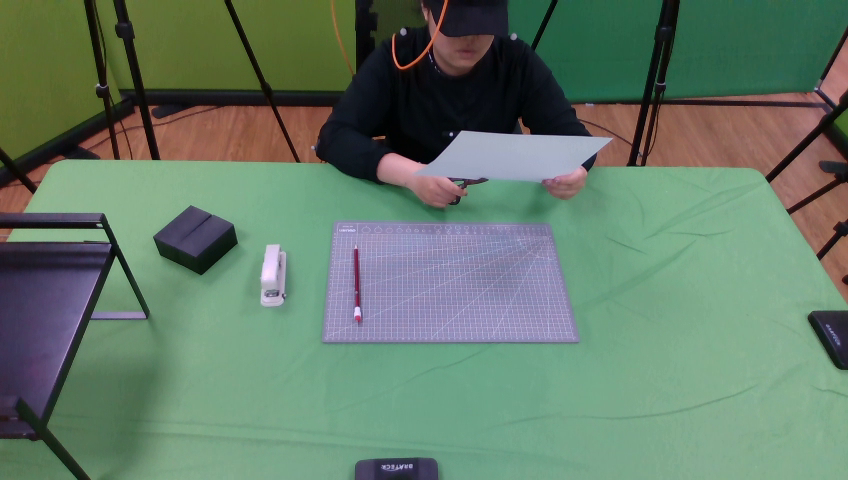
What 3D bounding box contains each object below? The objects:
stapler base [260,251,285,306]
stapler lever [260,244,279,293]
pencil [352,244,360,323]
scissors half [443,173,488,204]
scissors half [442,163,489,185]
[{"bbox_3d":[-0.279,0.064,1.113,0.041,0.024,0.129,-2,44,-9],"label":"stapler base"},{"bbox_3d":[-0.279,0.045,1.096,0.027,0.040,0.117,-2,44,-9],"label":"stapler lever"},{"bbox_3d":[-0.127,0.076,1.120,0.012,0.012,0.192,-3,44,-7],"label":"pencil"},{"bbox_3d":[0.081,-0.104,1.195,0.013,0.175,0.040,-8,81,-26],"label":"scissors half"},{"bbox_3d":[0.080,-0.126,1.194,0.013,0.040,0.174,-3,14,-27],"label":"scissors half"}]
